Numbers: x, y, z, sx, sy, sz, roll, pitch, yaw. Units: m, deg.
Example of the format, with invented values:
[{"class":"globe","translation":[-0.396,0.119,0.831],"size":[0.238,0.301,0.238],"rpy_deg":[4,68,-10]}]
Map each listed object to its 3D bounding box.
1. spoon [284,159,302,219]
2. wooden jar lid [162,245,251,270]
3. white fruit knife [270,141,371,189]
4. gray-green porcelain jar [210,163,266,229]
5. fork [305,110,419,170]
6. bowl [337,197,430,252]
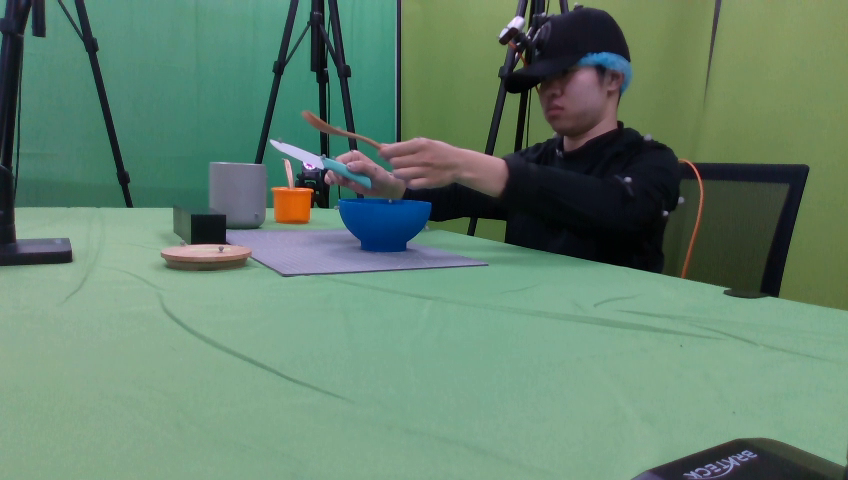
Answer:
[{"class":"spoon","translation":[-0.302,-0.118,1.370],"size":[0.042,0.193,0.021],"rpy_deg":[5,-39,-24]},{"class":"wooden jar lid","translation":[-0.278,0.022,0.777],"size":[0.108,0.020,0.108],"rpy_deg":[2,6,0]},{"class":"white fruit knife","translation":[-0.176,-0.134,1.060],"size":[0.208,0.027,0.016],"rpy_deg":[19,-29,-39]},{"class":"gray-green porcelain jar","translation":[-0.368,-0.088,1.195],"size":[0.106,0.126,0.106],"rpy_deg":[3,8,0]},{"class":"fork","translation":[-0.090,-0.150,0.931],"size":[0.208,0.018,0.028],"rpy_deg":[19,-31,-35]},{"class":"bowl","translation":[-0.066,-0.024,0.967],"size":[0.151,0.077,0.151],"rpy_deg":[3,7,0]}]
